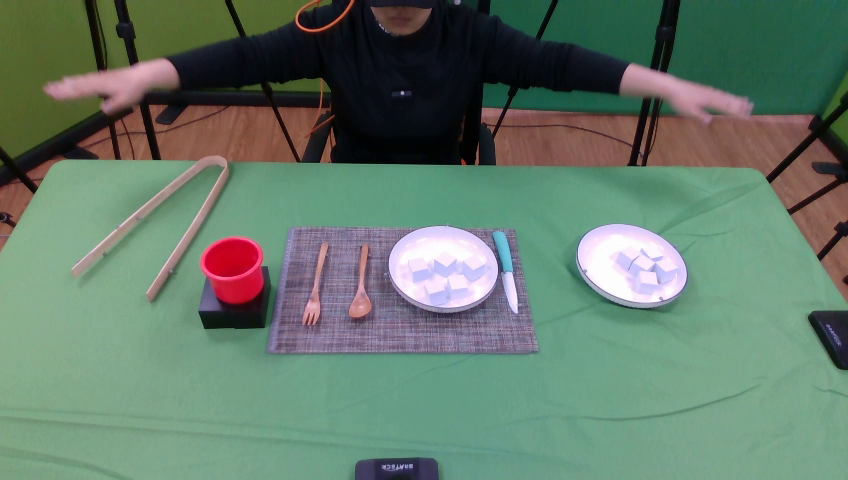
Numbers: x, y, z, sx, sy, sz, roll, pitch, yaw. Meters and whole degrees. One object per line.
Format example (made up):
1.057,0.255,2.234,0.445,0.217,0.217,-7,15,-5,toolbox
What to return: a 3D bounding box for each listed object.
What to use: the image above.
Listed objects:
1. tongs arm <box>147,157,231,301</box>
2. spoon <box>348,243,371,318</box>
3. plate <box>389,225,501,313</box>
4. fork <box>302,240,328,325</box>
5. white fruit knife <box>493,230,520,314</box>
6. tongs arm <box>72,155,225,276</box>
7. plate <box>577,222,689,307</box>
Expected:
-0.454,-0.035,1.194,0.028,0.028,0.385,6,46,6,tongs arm
-0.113,0.070,1.115,0.041,0.022,0.192,-11,46,11,spoon
0.038,0.057,1.128,0.208,0.039,0.206,2,46,-2,plate
-0.195,0.074,1.108,0.028,0.019,0.206,-1,48,4,fork
0.160,0.057,1.154,0.027,0.016,0.206,-21,46,16,white fruit knife
-0.531,-0.058,1.205,0.050,0.026,0.383,18,47,13,tongs arm
0.396,0.050,1.165,0.209,0.038,0.208,2,47,-2,plate
